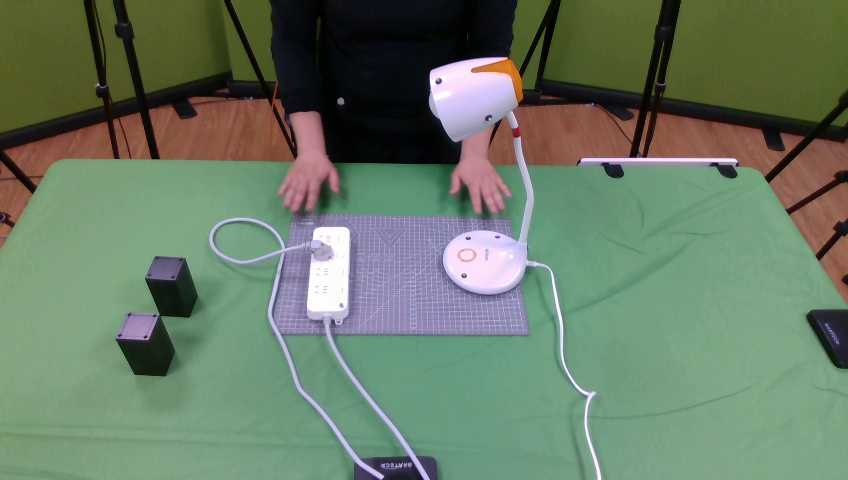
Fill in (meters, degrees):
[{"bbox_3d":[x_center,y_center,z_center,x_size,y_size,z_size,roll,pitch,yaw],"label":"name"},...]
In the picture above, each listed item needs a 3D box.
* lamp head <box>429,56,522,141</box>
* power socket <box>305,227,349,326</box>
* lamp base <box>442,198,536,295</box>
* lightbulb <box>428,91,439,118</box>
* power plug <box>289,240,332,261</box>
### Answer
[{"bbox_3d":[0.082,-0.212,0.882,0.123,0.113,0.111,-13,44,14],"label":"lamp head"},{"bbox_3d":[-0.177,0.058,1.115,0.072,0.033,0.225,-1,46,-4],"label":"power socket"},{"bbox_3d":[0.131,-0.013,1.106,0.179,0.181,0.159,0,46,-8],"label":"lamp base"},{"bbox_3d":[0.057,-0.213,0.888,0.107,0.060,0.059,-12,40,24],"label":"lightbulb"},{"bbox_3d":[-0.208,0.022,1.123,0.072,0.053,0.035,5,44,5],"label":"power plug"}]
